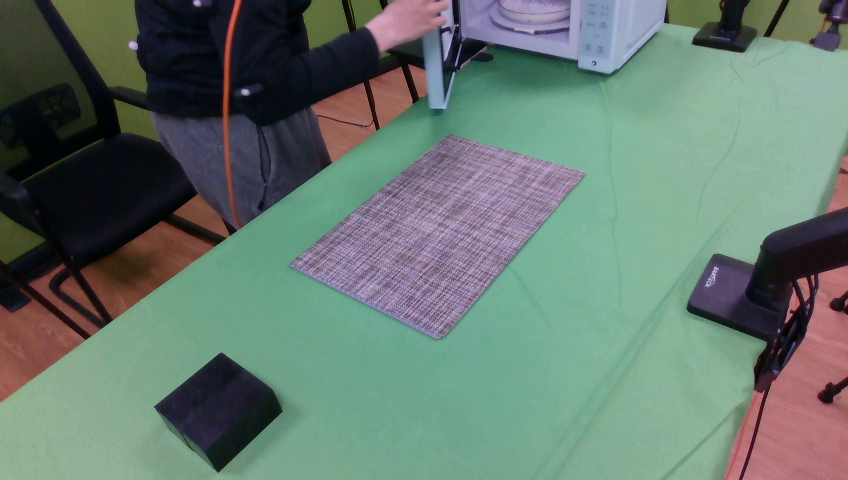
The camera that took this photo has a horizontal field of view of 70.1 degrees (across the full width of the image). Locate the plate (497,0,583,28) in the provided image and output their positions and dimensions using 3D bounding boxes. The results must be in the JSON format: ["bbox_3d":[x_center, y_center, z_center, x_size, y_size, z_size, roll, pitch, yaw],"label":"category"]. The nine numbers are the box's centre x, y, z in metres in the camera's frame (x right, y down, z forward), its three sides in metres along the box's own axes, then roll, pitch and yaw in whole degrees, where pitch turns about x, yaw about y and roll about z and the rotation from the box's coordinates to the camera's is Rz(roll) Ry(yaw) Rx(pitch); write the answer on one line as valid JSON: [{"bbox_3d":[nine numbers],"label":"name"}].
[{"bbox_3d":[0.284,-0.572,1.485,0.209,0.038,0.208,-5,43,6],"label":"plate"}]

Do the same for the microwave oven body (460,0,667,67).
[{"bbox_3d":[0.324,-0.609,1.437,0.438,0.261,0.327,22,50,31],"label":"microwave oven body"}]

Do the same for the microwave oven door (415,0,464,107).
[{"bbox_3d":[0.040,-0.489,1.333,0.039,0.245,0.355,2,42,11],"label":"microwave oven door"}]

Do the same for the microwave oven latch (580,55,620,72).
[{"bbox_3d":[0.386,-0.393,1.330,0.078,0.029,0.030,25,51,32],"label":"microwave oven latch"}]
